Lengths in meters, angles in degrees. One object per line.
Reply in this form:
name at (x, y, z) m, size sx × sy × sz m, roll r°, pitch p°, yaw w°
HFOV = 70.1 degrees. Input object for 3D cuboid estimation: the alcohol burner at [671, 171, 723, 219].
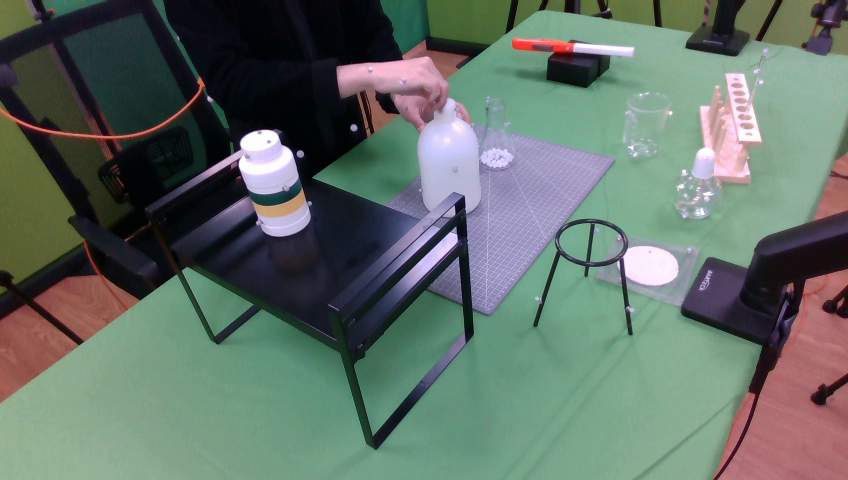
alcohol burner at (0.434, -0.093, 0.955) m, size 0.078 × 0.119 × 0.077 m, roll -3°, pitch 43°, yaw 4°

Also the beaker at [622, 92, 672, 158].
beaker at (0.402, -0.210, 1.106) m, size 0.074 × 0.101 × 0.083 m, roll -8°, pitch 40°, yaw -2°

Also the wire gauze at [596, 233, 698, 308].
wire gauze at (0.331, 0.038, 0.897) m, size 0.124 × 0.011 × 0.121 m, roll 18°, pitch 47°, yaw 26°

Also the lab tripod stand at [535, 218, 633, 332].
lab tripod stand at (0.215, 0.050, 0.803) m, size 0.148 × 0.132 × 0.147 m, roll -4°, pitch 42°, yaw 4°

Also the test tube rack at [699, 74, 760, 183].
test tube rack at (0.547, -0.208, 1.095) m, size 0.066 × 0.085 × 0.242 m, roll 6°, pitch 42°, yaw 16°

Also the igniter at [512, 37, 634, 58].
igniter at (0.328, -0.433, 1.360) m, size 0.275 × 0.025 × 0.057 m, roll 12°, pitch 33°, yaw 20°

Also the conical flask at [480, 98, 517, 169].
conical flask at (0.133, -0.198, 1.108) m, size 0.075 × 0.122 × 0.075 m, roll -4°, pitch 41°, yaw 4°

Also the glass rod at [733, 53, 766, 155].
glass rod at (0.540, -0.220, 1.007) m, size 0.008 × 0.201 × 0.008 m, roll -5°, pitch 45°, yaw 6°

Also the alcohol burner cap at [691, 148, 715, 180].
alcohol burner cap at (0.432, -0.120, 0.930) m, size 0.034 × 0.048 × 0.033 m, roll -7°, pitch 48°, yaw 8°

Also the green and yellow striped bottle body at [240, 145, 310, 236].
green and yellow striped bottle body at (-0.181, -0.069, 0.729) m, size 0.063 × 0.120 × 0.063 m, roll -4°, pitch 40°, yaw 4°

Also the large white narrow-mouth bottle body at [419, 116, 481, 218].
large white narrow-mouth bottle body at (0.042, -0.138, 0.998) m, size 0.102 × 0.195 × 0.101 m, roll -3°, pitch 39°, yaw 3°

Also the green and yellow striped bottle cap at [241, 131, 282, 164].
green and yellow striped bottle cap at (-0.187, -0.107, 0.695) m, size 0.045 × 0.020 × 0.045 m, roll -3°, pitch 39°, yaw 3°

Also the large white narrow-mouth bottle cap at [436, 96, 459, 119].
large white narrow-mouth bottle cap at (0.036, -0.206, 0.942) m, size 0.038 × 0.024 × 0.037 m, roll -3°, pitch 39°, yaw 3°
